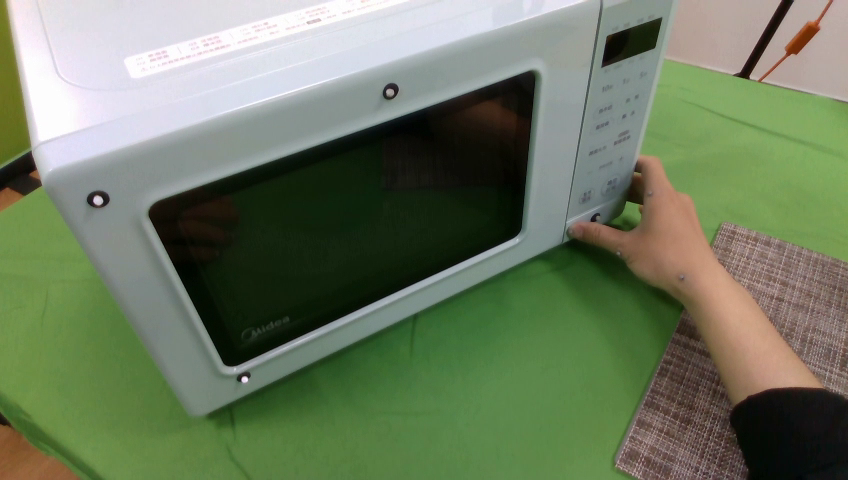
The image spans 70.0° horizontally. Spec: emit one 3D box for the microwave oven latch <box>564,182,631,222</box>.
[{"bbox_3d":[0.159,-0.041,0.590,0.079,0.030,0.030,-14,47,-10],"label":"microwave oven latch"}]

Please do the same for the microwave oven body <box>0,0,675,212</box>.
[{"bbox_3d":[-0.073,-0.124,0.550,0.442,0.262,0.322,-25,50,-19],"label":"microwave oven body"}]

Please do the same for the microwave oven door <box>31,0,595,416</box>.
[{"bbox_3d":[-0.037,-0.025,0.442,0.356,0.246,0.039,-24,48,-19],"label":"microwave oven door"}]
